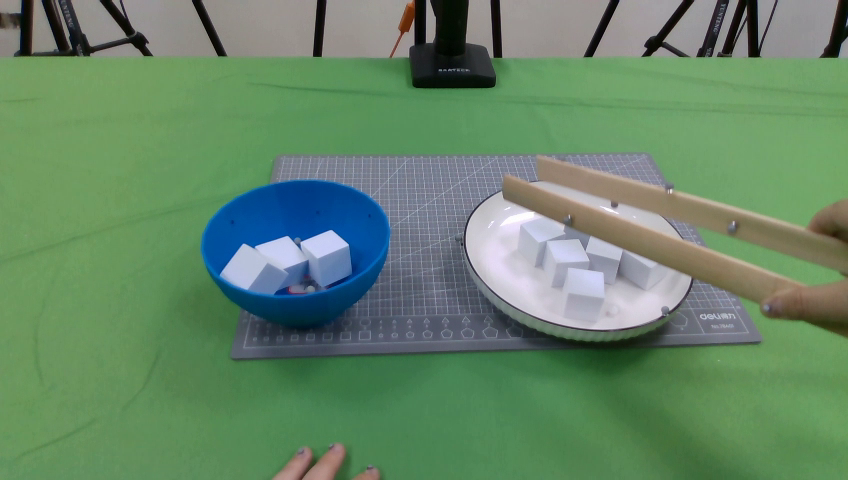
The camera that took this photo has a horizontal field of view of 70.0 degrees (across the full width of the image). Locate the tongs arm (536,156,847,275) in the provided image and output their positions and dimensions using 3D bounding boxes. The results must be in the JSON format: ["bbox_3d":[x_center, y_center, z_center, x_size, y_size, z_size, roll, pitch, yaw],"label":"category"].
[{"bbox_3d":[0.231,0.006,0.410,0.381,0.027,0.051,22,42,34],"label":"tongs arm"}]

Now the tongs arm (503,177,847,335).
[{"bbox_3d":[0.210,0.020,0.393,0.384,0.028,0.028,24,40,36],"label":"tongs arm"}]

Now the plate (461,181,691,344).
[{"bbox_3d":[0.137,0.019,0.563,0.208,0.039,0.205,2,41,-1],"label":"plate"}]

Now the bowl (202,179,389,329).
[{"bbox_3d":[-0.104,0.022,0.516,0.151,0.077,0.150,2,41,-1],"label":"bowl"}]
